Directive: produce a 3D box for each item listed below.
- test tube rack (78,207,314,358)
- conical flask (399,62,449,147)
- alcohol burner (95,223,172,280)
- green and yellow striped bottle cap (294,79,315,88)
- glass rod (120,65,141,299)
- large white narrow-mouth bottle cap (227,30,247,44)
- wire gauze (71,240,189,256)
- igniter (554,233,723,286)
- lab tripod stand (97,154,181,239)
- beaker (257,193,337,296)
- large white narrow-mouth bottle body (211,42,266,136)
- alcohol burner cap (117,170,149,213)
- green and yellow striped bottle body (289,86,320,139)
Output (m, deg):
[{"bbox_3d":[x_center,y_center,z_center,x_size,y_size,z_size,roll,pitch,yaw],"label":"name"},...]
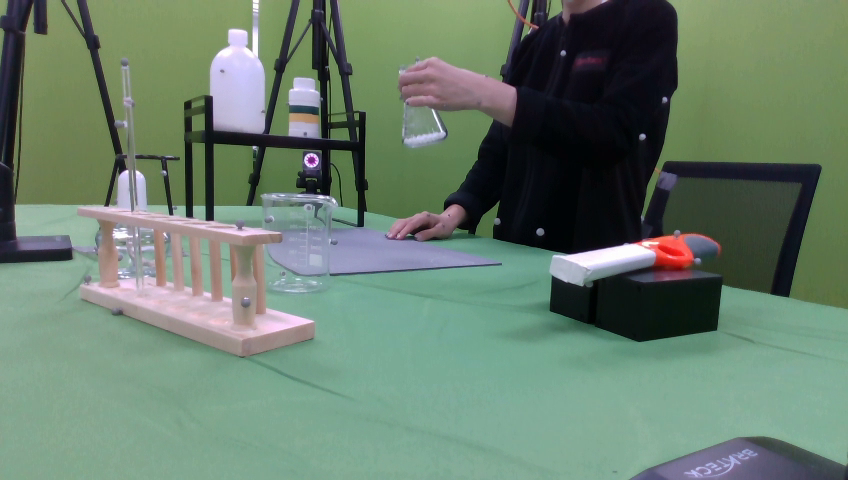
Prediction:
[{"bbox_3d":[-0.196,0.024,0.499,0.241,0.085,0.067,8,8,37],"label":"test tube rack"},{"bbox_3d":[-0.008,-0.210,0.932,0.075,0.122,0.075,-12,16,4],"label":"conical flask"},{"bbox_3d":[-0.320,-0.017,0.667,0.078,0.119,0.078,0,7,0],"label":"alcohol burner"},{"bbox_3d":[-0.248,-0.323,1.256,0.045,0.020,0.045,4,9,0],"label":"green and yellow striped bottle cap"},{"bbox_3d":[-0.248,-0.047,0.513,0.008,0.199,0.008,-1,4,0],"label":"glass rod"},{"bbox_3d":[-0.361,-0.389,1.165,0.038,0.024,0.037,1,7,0],"label":"large white narrow-mouth bottle cap"},{"bbox_3d":[-0.399,0.013,0.820,0.126,0.011,0.121,-3,8,-37],"label":"wire gauze"},{"bbox_3d":[0.214,0.015,0.570,0.278,0.025,0.057,-5,22,-44],"label":"igniter"},{"bbox_3d":[-0.427,-0.066,0.942,0.148,0.131,0.148,1,6,0],"label":"lab tripod stand"},{"bbox_3d":[-0.130,0.003,0.628,0.084,0.100,0.074,5,8,15],"label":"beaker"},{"bbox_3d":[-0.361,-0.302,1.176,0.102,0.194,0.102,1,7,0],"label":"large white narrow-mouth bottle body"},{"bbox_3d":[-0.320,-0.052,0.661,0.034,0.048,0.034,-3,0,0],"label":"alcohol burner cap"},{"bbox_3d":[-0.250,-0.272,1.261,0.063,0.119,0.063,3,7,0],"label":"green and yellow striped bottle body"}]
